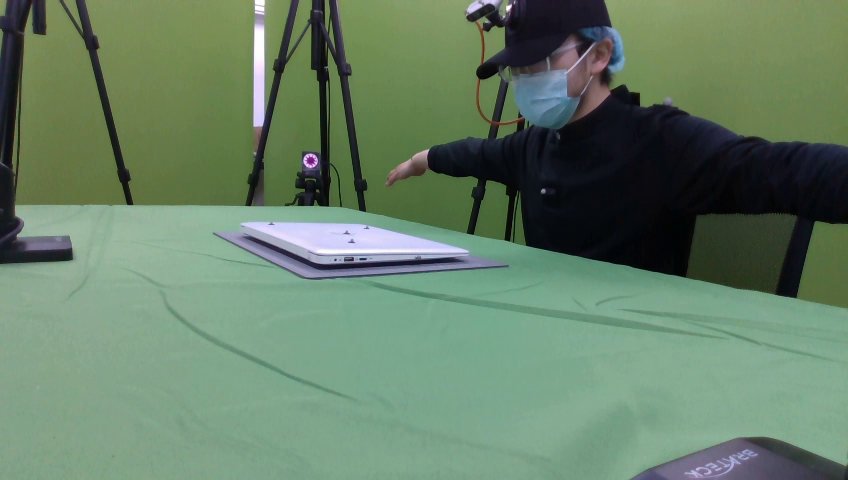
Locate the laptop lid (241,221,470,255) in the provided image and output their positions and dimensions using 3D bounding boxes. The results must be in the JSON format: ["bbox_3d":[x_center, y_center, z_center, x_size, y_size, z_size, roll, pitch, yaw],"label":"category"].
[{"bbox_3d":[-0.121,-0.007,0.936,0.243,0.013,0.355,1,7,-31],"label":"laptop lid"}]

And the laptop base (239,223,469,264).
[{"bbox_3d":[-0.123,0.005,0.936,0.237,0.023,0.352,2,6,-33],"label":"laptop base"}]
